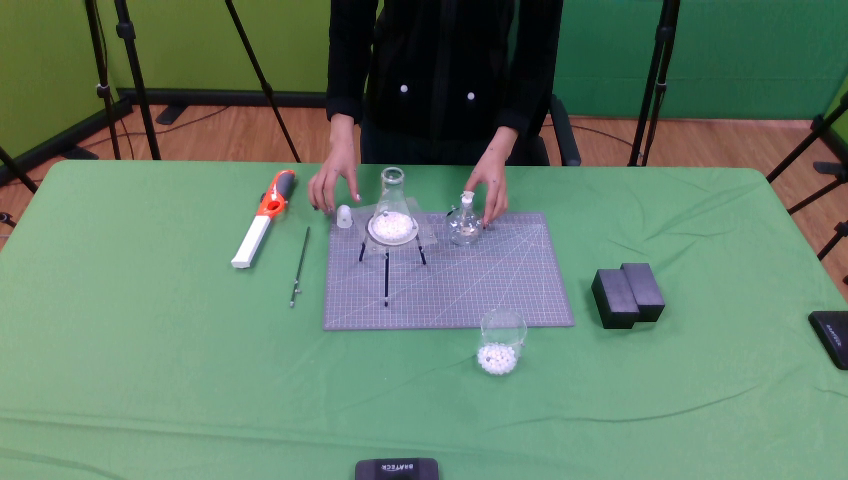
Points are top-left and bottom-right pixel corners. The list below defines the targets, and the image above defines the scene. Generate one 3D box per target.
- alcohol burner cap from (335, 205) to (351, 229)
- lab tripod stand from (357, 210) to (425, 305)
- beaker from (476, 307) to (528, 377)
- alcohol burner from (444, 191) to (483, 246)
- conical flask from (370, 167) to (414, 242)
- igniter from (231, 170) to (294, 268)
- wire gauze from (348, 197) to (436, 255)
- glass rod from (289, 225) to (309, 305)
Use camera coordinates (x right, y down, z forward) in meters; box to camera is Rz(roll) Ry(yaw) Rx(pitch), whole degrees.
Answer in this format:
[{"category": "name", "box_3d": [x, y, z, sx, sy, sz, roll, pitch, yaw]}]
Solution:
[{"category": "alcohol burner cap", "box_3d": [-0.164, -0.049, 1.216, 0.034, 0.048, 0.033, 3, 47, -3]}, {"category": "lab tripod stand", "box_3d": [-0.060, 0.020, 1.094, 0.148, 0.132, 0.147, 3, 44, -2]}, {"category": "beaker", "box_3d": [0.122, 0.171, 0.991, 0.084, 0.101, 0.073, -34, 56, -31]}, {"category": "alcohol burner", "box_3d": [0.079, -0.047, 1.184, 0.078, 0.120, 0.077, 1, 45, -1]}, {"category": "conical flask", "box_3d": [-0.053, -0.062, 1.000, 0.075, 0.122, 0.075, 2, 44, -2]}, {"category": "igniter", "box_3d": [-0.321, -0.051, 1.220, 0.057, 0.025, 0.275, 2, 45, 11]}, {"category": "wire gauze", "box_3d": [-0.056, -0.025, 1.046, 0.125, 0.011, 0.120, -14, 46, -15]}, {"category": "glass rod", "box_3d": [-0.235, 0.043, 1.149, 0.008, 0.008, 0.198, 3, 46, -1]}]
